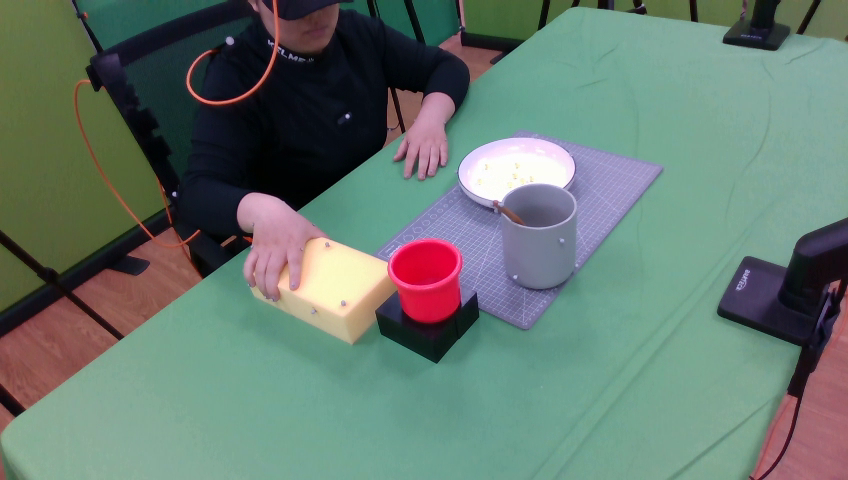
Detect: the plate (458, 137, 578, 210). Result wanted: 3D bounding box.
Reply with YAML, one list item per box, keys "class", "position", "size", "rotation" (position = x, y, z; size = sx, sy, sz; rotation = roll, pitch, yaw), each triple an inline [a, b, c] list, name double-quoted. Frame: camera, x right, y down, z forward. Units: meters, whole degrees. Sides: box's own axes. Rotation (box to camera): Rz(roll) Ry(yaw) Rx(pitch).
- class: "plate"
  position: [0.166, -0.113, 1.068]
  size: [0.207, 0.039, 0.206]
  rotation: [-5, 40, 5]

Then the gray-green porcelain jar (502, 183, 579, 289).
- class: "gray-green porcelain jar"
  position: [0.167, -0.001, 0.866]
  size: [0.106, 0.127, 0.105]
  rotation: [-5, 40, 5]

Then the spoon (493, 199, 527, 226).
- class: "spoon"
  position: [0.135, -0.016, 0.831]
  size: [0.021, 0.195, 0.041]
  rotation: [-49, 53, -1]

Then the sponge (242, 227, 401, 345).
- class: "sponge"
  position: [-0.154, 0.064, 0.907]
  size: [0.205, 0.061, 0.118]
  rotation: [19, 48, 29]
